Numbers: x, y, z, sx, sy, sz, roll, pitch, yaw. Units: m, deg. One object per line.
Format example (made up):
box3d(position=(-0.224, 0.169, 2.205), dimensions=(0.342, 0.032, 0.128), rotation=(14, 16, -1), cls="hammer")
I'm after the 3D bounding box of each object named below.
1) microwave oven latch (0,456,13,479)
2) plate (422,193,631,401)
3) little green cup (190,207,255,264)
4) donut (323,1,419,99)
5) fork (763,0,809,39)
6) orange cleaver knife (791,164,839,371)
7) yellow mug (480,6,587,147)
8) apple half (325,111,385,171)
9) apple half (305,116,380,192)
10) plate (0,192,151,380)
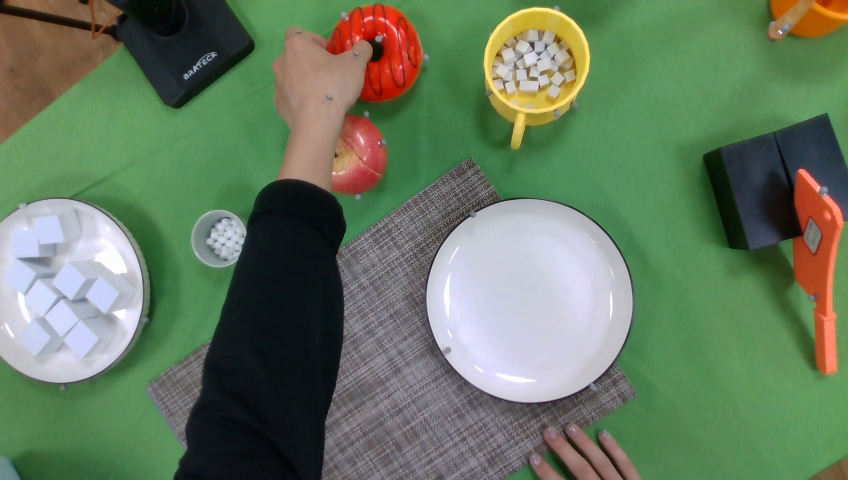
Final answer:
box3d(position=(-0.479, 0.278, 0.677), dimensions=(0.030, 0.029, 0.079), rotation=(-28, 89, 6), cls="microwave oven latch")
box3d(position=(0.102, 0.057, 0.620), dimensions=(0.209, 0.038, 0.209), rotation=(0, 91, 7), cls="plate")
box3d(position=(-0.216, -0.005, 0.659), dimensions=(0.061, 0.038, 0.061), rotation=(0, 91, 7), cls="little green cup")
box3d(position=(-0.055, -0.195, 0.627), dimensions=(0.099, 0.048, 0.099), rotation=(0, 93, -2), cls="donut")
box3d(position=(0.336, -0.215, 0.534), dimensions=(0.028, 0.018, 0.207), rotation=(50, 52, 3), cls="fork")
box3d(position=(0.365, 0.030, 0.571), dimensions=(0.012, 0.076, 0.213), rotation=(-14, 119, 10), cls="orange cleaver knife")
box3d(position=(0.103, -0.157, 0.605), dimensions=(0.100, 0.064, 0.131), rotation=(14, 94, 6), cls="yellow mug")
box3d(position=(-0.062, -0.108, 0.621), dimensions=(0.033, 0.081, 0.081), rotation=(-44, 86, 10), cls="apple half")
box3d(position=(-0.090, -0.081, 0.626), dimensions=(0.053, 0.074, 0.081), rotation=(-43, 90, 10), cls="apple half")
box3d(position=(-0.401, 0.051, 0.681), dimensions=(0.207, 0.039, 0.207), rotation=(0, 91, 7), cls="plate")
